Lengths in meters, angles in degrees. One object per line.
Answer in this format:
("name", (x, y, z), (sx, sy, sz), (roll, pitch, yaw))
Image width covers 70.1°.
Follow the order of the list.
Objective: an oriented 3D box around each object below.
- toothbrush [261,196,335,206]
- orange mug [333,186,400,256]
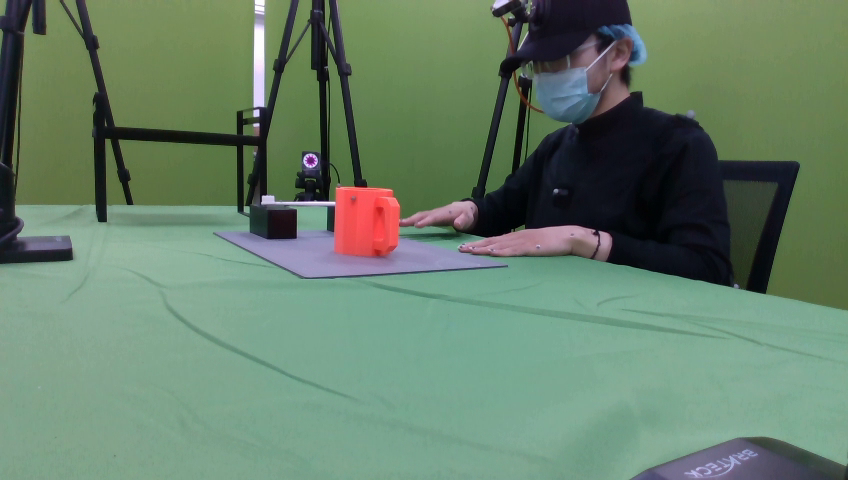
("toothbrush", (-0.200, -0.067, 1.073), (0.183, 0.016, 0.014), (-1, -7, -34))
("orange mug", (-0.080, -0.029, 0.888), (0.084, 0.100, 0.125), (-3, 5, -40))
